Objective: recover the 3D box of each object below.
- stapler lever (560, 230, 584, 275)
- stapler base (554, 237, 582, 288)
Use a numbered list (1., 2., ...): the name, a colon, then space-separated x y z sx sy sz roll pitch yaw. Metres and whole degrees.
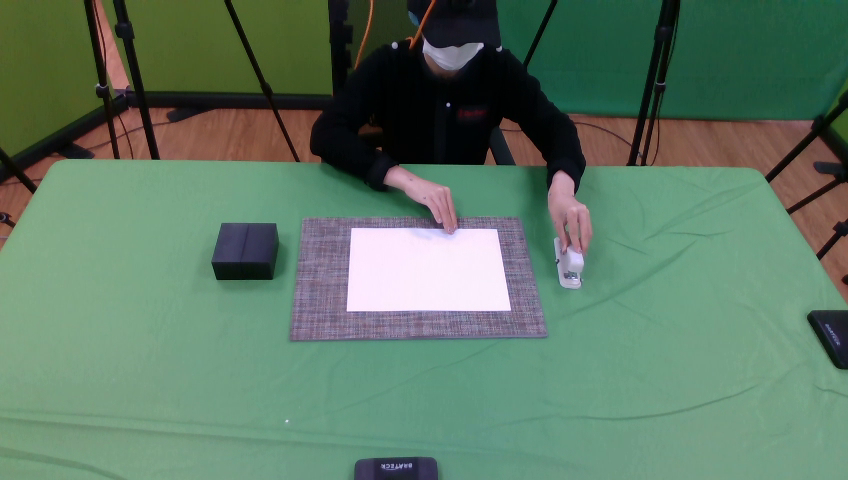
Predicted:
1. stapler lever: 0.284 0.018 1.164 0.027 0.040 0.117 6 44 -3
2. stapler base: 0.282 0.037 1.181 0.041 0.024 0.130 6 44 -3
